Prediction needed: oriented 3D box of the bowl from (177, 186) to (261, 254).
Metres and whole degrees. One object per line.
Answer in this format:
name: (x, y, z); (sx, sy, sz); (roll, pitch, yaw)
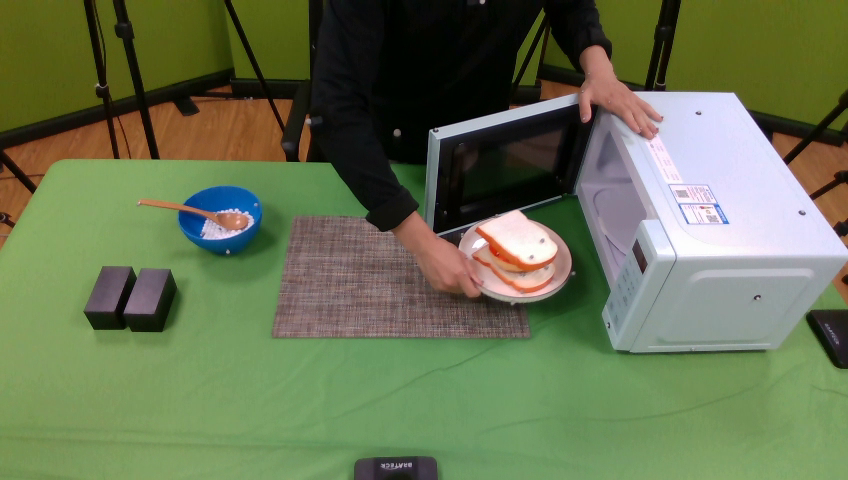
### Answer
bowl: (-0.383, -0.026, 1.158); (0.151, 0.077, 0.150); (2, 46, -2)

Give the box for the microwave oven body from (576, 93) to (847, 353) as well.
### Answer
microwave oven body: (0.475, -0.041, 1.109); (0.326, 0.261, 0.438); (-1, 45, -4)

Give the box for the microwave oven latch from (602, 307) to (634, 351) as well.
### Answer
microwave oven latch: (0.332, 0.153, 1.044); (0.030, 0.029, 0.078); (-1, 45, -4)

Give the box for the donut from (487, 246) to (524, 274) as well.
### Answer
donut: (0.161, 0.017, 1.076); (0.099, 0.048, 0.098); (-7, 49, 8)

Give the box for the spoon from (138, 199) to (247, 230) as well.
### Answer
spoon: (-0.431, -0.053, 1.136); (0.194, 0.022, 0.041); (15, 48, -20)

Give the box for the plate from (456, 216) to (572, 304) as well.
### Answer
plate: (0.161, 0.039, 1.100); (0.208, 0.039, 0.206); (2, 45, -1)

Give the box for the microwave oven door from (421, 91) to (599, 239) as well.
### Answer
microwave oven door: (0.166, -0.147, 1.182); (0.356, 0.245, 0.039); (-18, 50, -20)

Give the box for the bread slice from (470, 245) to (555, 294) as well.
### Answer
bread slice: (0.168, 0.043, 1.098); (0.107, 0.018, 0.133); (-32, 53, -28)

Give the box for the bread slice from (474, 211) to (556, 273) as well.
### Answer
bread slice: (0.167, 0.003, 1.055); (0.105, 0.019, 0.131); (-23, 52, -32)
